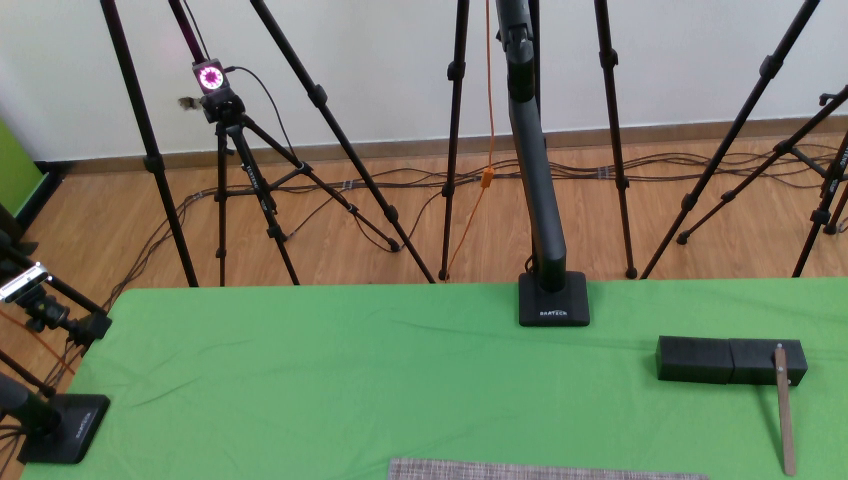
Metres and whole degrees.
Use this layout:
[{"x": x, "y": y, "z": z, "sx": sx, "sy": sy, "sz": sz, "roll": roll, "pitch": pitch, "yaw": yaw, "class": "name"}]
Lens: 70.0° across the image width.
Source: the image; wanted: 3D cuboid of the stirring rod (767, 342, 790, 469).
[{"x": 0.503, "y": 0.232, "z": 0.860, "sx": 0.014, "sy": 0.006, "sz": 0.175, "roll": 3, "pitch": 68, "yaw": 9, "class": "stirring rod"}]
